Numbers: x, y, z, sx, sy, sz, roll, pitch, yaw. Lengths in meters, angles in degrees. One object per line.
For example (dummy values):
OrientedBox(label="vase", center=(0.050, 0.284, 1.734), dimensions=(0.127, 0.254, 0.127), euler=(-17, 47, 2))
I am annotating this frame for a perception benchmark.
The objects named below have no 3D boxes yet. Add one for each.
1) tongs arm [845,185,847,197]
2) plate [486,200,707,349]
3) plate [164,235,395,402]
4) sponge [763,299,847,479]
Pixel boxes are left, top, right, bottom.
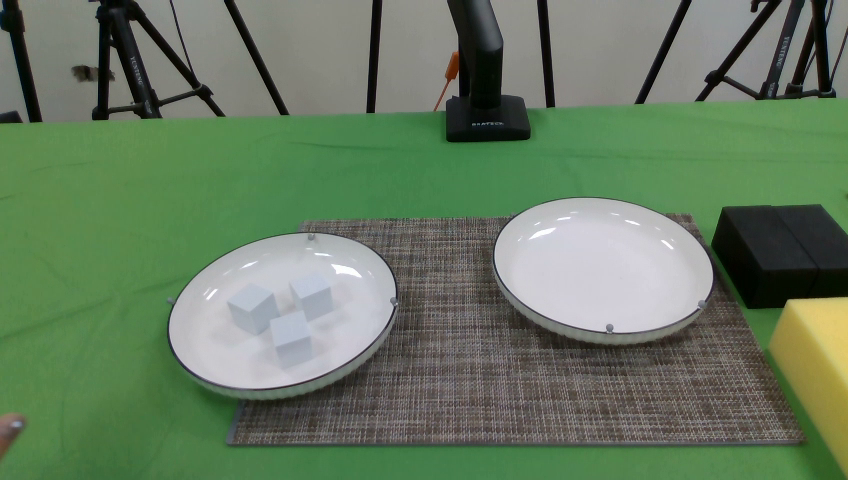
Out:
OrientedBox(label="tongs arm", center=(0.522, 0.053, 0.566), dimensions=(0.028, 0.028, 0.383), euler=(-3, 38, -4))
OrientedBox(label="plate", center=(0.165, 0.034, 0.600), dimensions=(0.207, 0.039, 0.205), euler=(-1, 38, 1))
OrientedBox(label="plate", center=(-0.130, 0.071, 0.568), dimensions=(0.209, 0.038, 0.207), euler=(-1, 38, 1))
OrientedBox(label="sponge", center=(0.362, 0.135, 0.445), dimensions=(0.118, 0.061, 0.204), euler=(-4, 38, 0))
